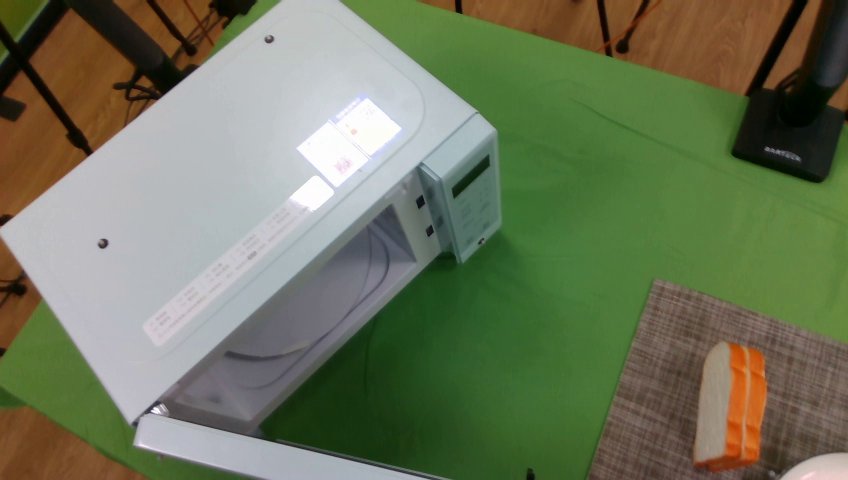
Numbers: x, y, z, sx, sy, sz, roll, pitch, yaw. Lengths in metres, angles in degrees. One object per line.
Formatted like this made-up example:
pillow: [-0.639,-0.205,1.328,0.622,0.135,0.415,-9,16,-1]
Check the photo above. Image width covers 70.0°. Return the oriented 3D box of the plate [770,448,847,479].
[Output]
plate: [0.442,0.322,0.618,0.207,0.039,0.206,-3,68,7]

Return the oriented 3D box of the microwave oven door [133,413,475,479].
microwave oven door: [-0.065,0.230,0.601,0.355,0.246,0.039,9,69,11]

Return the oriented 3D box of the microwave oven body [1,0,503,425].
microwave oven body: [-0.172,-0.029,0.725,0.441,0.262,0.323,-43,69,-9]

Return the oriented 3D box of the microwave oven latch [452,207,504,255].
microwave oven latch: [0.070,-0.017,0.790,0.079,0.030,0.030,-41,69,-8]
